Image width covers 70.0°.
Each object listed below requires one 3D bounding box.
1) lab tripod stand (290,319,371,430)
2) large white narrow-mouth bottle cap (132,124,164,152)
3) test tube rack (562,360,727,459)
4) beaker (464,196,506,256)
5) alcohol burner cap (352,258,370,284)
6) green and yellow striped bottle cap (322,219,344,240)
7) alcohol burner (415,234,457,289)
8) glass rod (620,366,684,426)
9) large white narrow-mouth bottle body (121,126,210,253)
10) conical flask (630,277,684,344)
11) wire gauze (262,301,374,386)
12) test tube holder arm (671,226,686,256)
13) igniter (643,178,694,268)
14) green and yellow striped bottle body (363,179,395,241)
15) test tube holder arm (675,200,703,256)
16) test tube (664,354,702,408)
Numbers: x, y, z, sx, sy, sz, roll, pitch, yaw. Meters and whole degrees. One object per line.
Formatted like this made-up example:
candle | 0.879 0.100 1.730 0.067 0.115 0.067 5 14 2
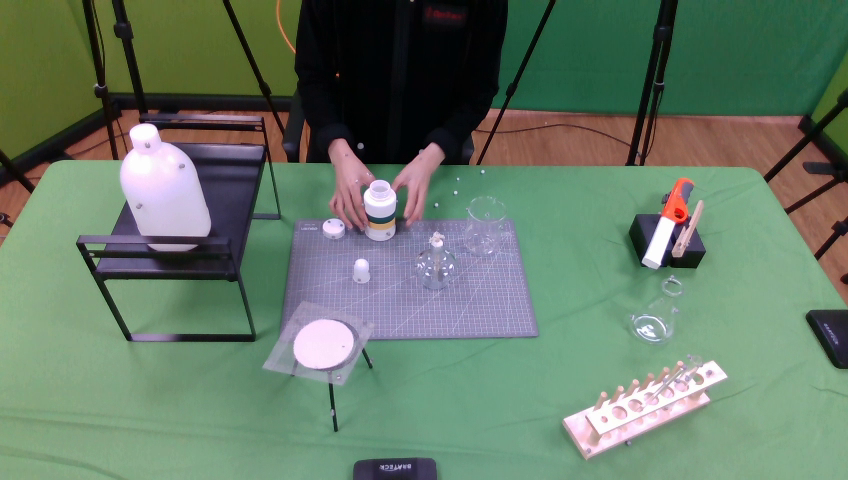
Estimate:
lab tripod stand | -0.146 0.193 0.923 0.148 0.132 0.147 1 47 -1
large white narrow-mouth bottle cap | -0.371 -0.137 0.813 0.038 0.024 0.037 3 46 -3
test tube rack | 0.341 0.247 0.940 0.243 0.085 0.066 -16 49 -18
beaker | 0.117 -0.026 1.174 0.074 0.101 0.083 21 48 15
alcohol burner cap | -0.117 0.055 1.118 0.034 0.048 0.033 2 46 -1
green and yellow striped bottle cap | -0.182 -0.022 1.207 0.045 0.020 0.045 2 44 -1
alcohol burner | 0.022 0.033 1.100 0.078 0.120 0.077 1 47 -1
glass rod | 0.322 0.227 0.866 0.008 0.200 0.008 5 51 -7
large white narrow-mouth bottle body | -0.378 -0.077 0.875 0.102 0.195 0.101 3 46 -3
conical flask | 0.408 0.117 1.045 0.075 0.122 0.075 2 46 -2
wire gauze | -0.150 0.148 0.873 0.121 0.011 0.124 14 46 12
test tube holder arm | 0.494 0.001 1.167 0.010 0.015 0.087 1 36 42
igniter | 0.488 -0.042 1.205 0.057 0.025 0.276 30 51 11
green and yellow striped bottle body | -0.087 -0.060 1.177 0.063 0.120 0.063 2 45 -2
test tube holder arm | 0.523 -0.025 1.190 0.013 0.015 0.178 0 36 42
test tube | 0.385 0.215 0.906 0.017 0.151 0.017 -1 49 1
